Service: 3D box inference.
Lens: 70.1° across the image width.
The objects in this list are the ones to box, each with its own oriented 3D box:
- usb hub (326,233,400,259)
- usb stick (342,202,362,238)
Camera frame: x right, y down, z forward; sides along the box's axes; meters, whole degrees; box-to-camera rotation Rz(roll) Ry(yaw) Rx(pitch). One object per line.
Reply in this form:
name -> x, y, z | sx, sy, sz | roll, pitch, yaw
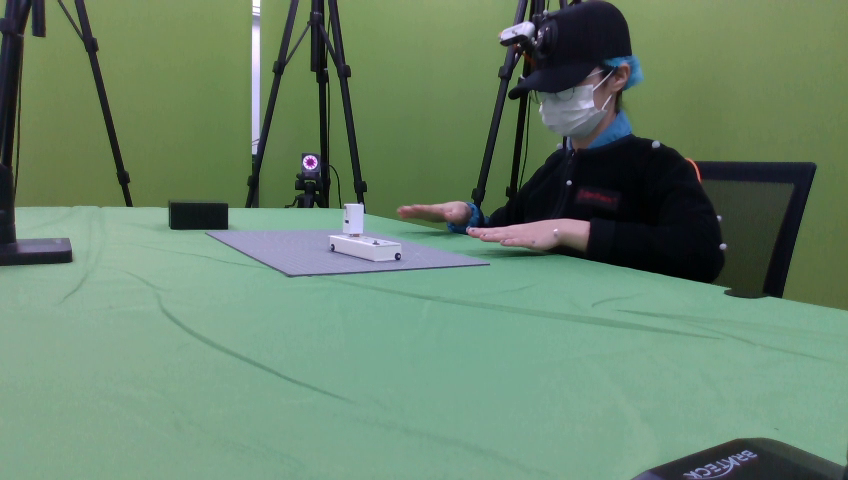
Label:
usb hub -> -0.092, 0.008, 0.892 | 0.050, 0.025, 0.124 | -5, 9, -40
usb stick -> -0.109, -0.027, 0.914 | 0.027, 0.059, 0.021 | -8, 13, -42
